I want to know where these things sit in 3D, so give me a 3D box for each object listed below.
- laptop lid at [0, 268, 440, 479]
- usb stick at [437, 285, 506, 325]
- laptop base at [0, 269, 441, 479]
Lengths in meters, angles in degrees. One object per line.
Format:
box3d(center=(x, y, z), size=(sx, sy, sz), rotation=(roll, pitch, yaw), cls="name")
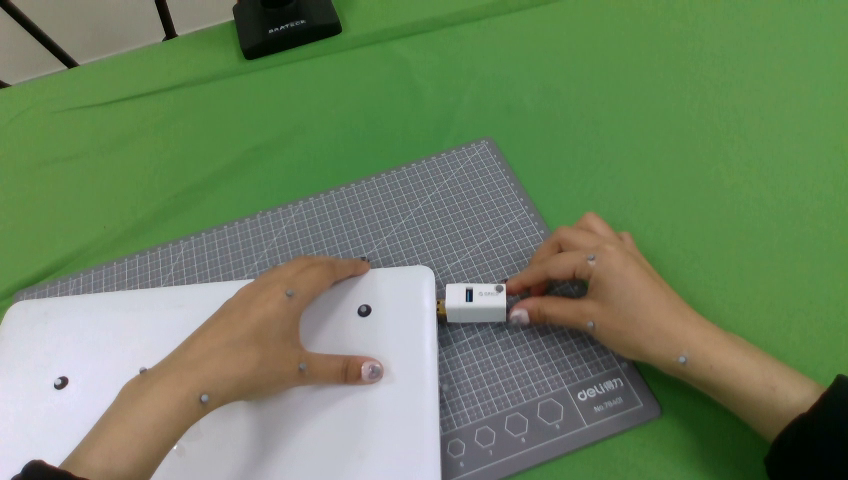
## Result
box3d(center=(-0.165, 0.130, 0.415), size=(0.356, 0.013, 0.239), rotation=(-4, 55, 6), cls="laptop lid")
box3d(center=(0.031, 0.048, 0.445), size=(0.059, 0.027, 0.021), rotation=(-2, 53, 10), cls="usb stick")
box3d(center=(-0.163, 0.135, 0.425), size=(0.354, 0.023, 0.233), rotation=(-5, 56, 5), cls="laptop base")
